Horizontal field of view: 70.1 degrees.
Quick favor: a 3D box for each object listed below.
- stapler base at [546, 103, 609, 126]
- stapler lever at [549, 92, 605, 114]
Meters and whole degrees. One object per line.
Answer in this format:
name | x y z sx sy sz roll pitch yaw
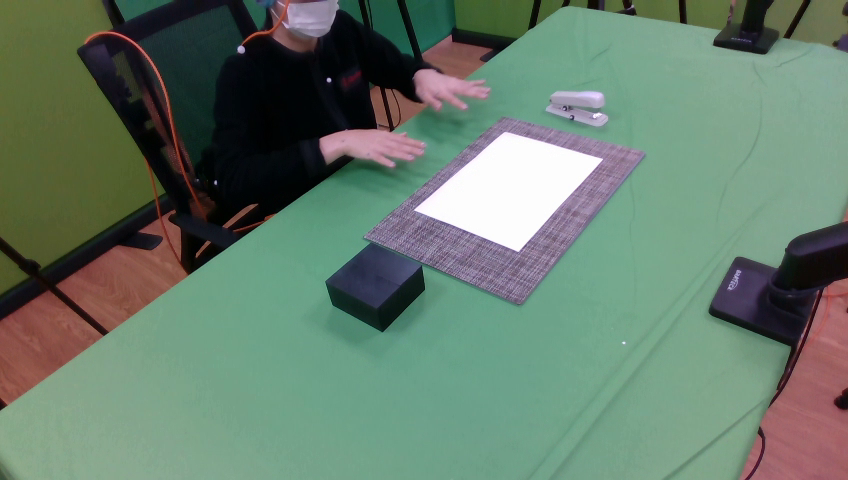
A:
stapler base | 0.313 -0.265 1.235 0.129 0.024 0.041 26 48 35
stapler lever | 0.309 -0.285 1.220 0.117 0.040 0.027 26 49 35
